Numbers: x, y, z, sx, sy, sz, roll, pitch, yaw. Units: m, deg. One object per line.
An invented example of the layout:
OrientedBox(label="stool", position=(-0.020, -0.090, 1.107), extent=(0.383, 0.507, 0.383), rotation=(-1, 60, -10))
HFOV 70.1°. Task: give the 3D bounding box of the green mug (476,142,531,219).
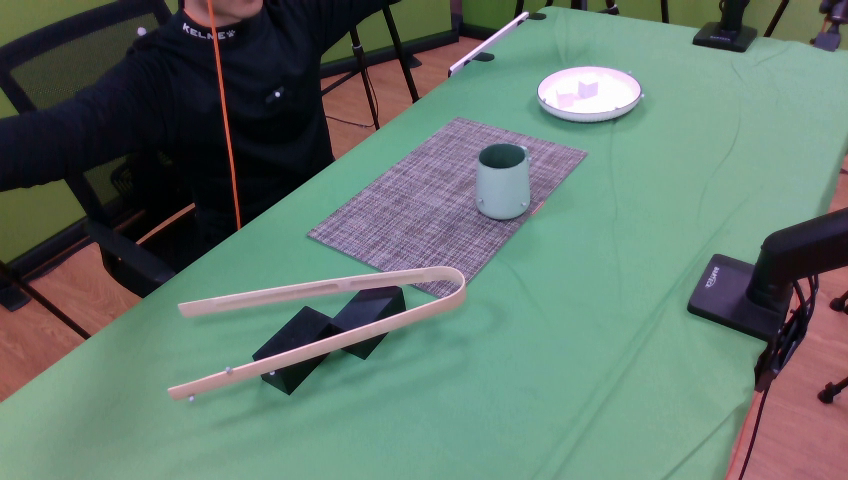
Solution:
OrientedBox(label="green mug", position=(0.140, -0.106, 1.002), extent=(0.092, 0.105, 0.125), rotation=(21, 48, 30))

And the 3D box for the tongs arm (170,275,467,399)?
OrientedBox(label="tongs arm", position=(-0.122, 0.120, 0.768), extent=(0.386, 0.026, 0.050), rotation=(-16, 38, -9))

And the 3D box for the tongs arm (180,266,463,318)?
OrientedBox(label="tongs arm", position=(-0.139, 0.073, 0.828), extent=(0.388, 0.028, 0.028), rotation=(-8, 34, 0))

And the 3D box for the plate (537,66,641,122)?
OrientedBox(label="plate", position=(0.338, -0.299, 1.255), extent=(0.209, 0.038, 0.208), rotation=(-4, 41, 4))
